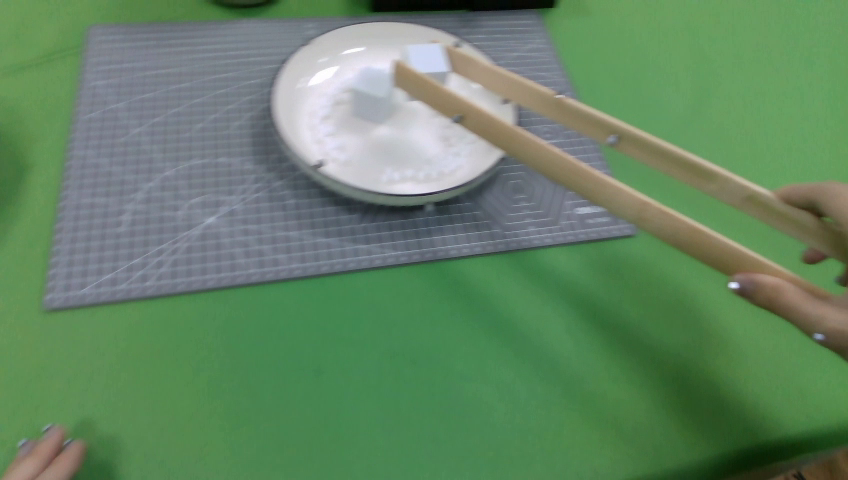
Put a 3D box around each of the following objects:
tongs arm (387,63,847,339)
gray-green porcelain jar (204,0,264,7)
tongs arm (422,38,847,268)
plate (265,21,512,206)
[{"bbox_3d":[0.127,-0.034,0.404,0.385,0.028,0.028,32,54,20],"label":"tongs arm"},{"bbox_3d":[-0.190,-0.300,0.579,0.106,0.127,0.105,4,56,-5],"label":"gray-green porcelain jar"},{"bbox_3d":[0.145,-0.051,0.417,0.382,0.027,0.050,29,56,19],"label":"tongs arm"},{"bbox_3d":[-0.030,-0.110,0.525,0.209,0.038,0.207,4,56,-5],"label":"plate"}]
